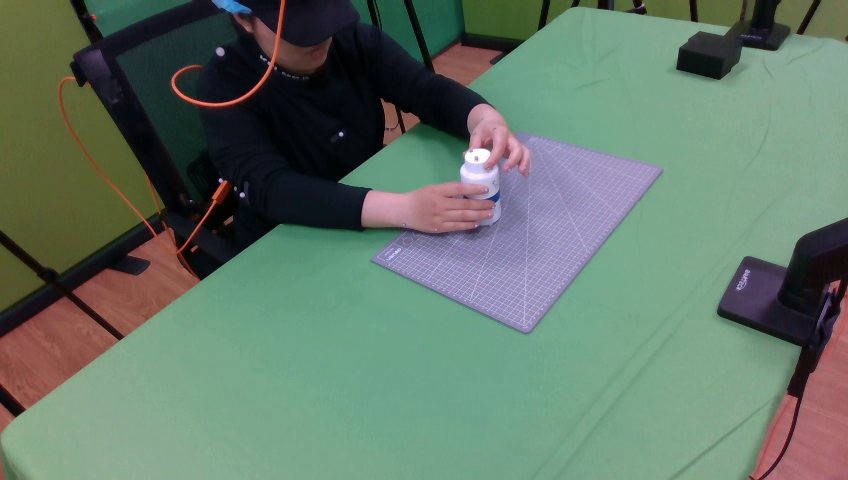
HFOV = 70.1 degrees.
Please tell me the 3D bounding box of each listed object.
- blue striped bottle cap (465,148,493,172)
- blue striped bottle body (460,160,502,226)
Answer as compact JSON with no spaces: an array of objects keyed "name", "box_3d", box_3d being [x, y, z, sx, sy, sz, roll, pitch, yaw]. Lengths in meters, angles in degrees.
[{"name":"blue striped bottle cap","box_3d":[0.086,-0.127,0.956,0.044,0.021,0.044,-4,42,4]},{"name":"blue striped bottle body","box_3d":[0.094,-0.087,0.988,0.063,0.121,0.063,-6,40,6]}]
